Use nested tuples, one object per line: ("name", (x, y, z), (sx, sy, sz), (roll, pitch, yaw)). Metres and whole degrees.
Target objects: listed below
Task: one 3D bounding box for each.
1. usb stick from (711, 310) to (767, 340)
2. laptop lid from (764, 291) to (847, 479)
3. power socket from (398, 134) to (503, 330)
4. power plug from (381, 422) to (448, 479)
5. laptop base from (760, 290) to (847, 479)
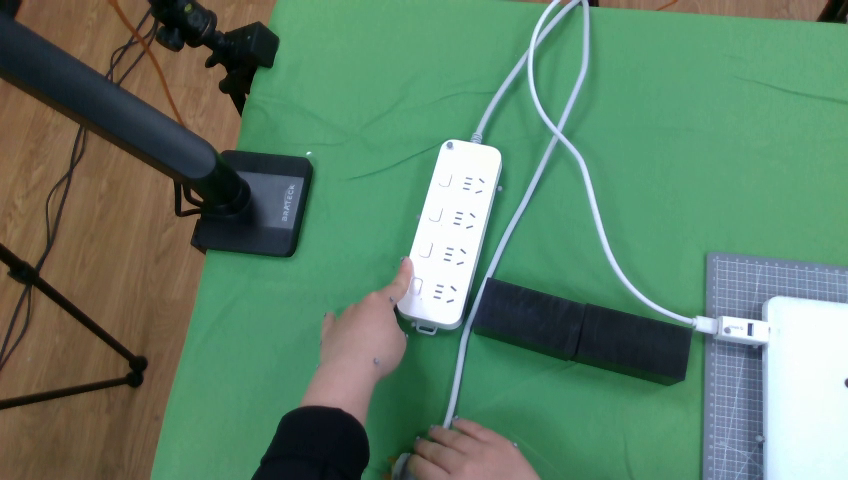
("usb stick", (0.318, 0.085, 0.599), (0.059, 0.027, 0.021), (9, 72, 2))
("laptop lid", (0.496, 0.181, 0.554), (0.356, 0.013, 0.240), (8, 75, 7))
("power socket", (0.030, -0.015, 0.659), (0.072, 0.033, 0.225), (13, 73, 8))
("power plug", (-0.008, 0.213, 0.597), (0.052, 0.072, 0.035), (-9, 102, 33))
("laptop base", (0.498, 0.182, 0.566), (0.354, 0.023, 0.234), (7, 76, 7))
